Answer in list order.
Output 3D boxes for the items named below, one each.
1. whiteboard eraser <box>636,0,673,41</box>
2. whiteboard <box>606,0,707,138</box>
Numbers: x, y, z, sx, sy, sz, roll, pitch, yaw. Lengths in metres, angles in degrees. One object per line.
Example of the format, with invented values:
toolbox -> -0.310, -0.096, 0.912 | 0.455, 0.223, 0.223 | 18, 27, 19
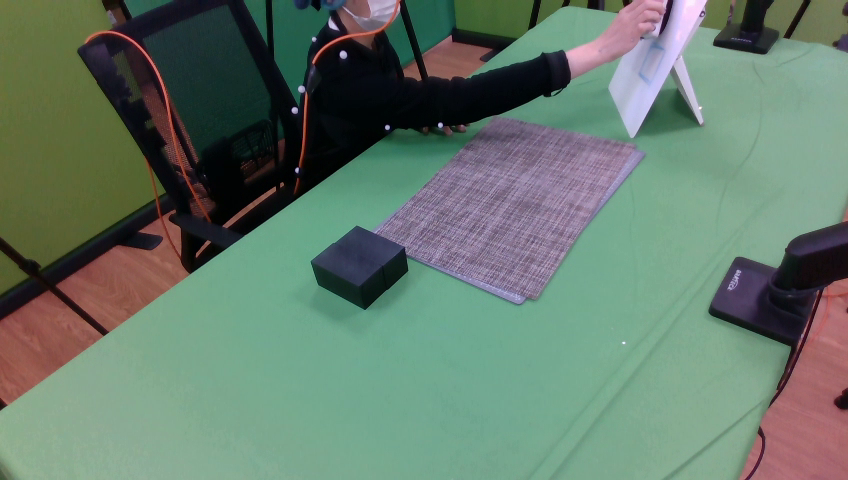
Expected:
whiteboard eraser -> 0.425, -0.423, 1.103 | 0.042, 0.112, 0.055 | 10, 11, -11
whiteboard -> 0.496, -0.359, 1.147 | 0.144, 0.305, 0.216 | 11, 40, -7
